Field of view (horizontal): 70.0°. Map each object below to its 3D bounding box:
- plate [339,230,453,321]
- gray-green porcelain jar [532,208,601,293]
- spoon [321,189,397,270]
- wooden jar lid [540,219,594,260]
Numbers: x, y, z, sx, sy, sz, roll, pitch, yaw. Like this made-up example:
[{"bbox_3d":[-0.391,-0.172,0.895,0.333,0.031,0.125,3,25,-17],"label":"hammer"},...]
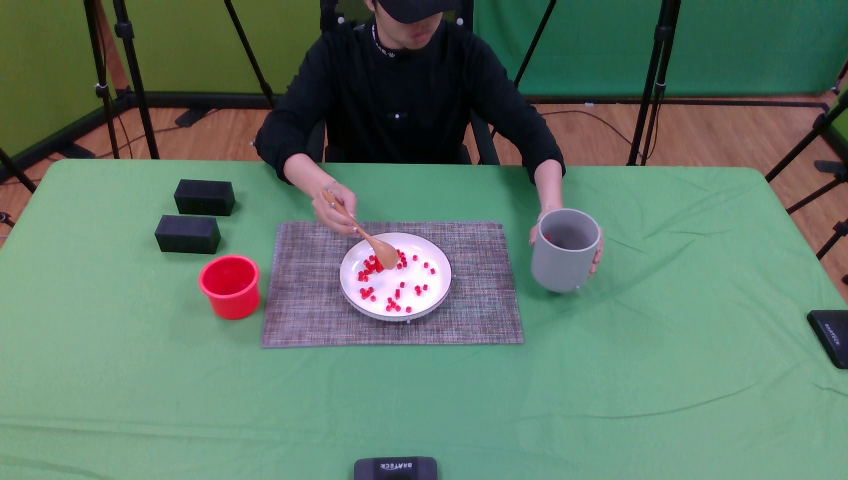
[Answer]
[{"bbox_3d":[-0.051,0.068,1.111,0.208,0.039,0.206,2,46,-2],"label":"plate"},{"bbox_3d":[0.248,0.023,1.075,0.106,0.127,0.105,0,48,0],"label":"gray-green porcelain jar"},{"bbox_3d":[-0.114,-0.018,1.064,0.194,0.021,0.041,45,65,-19],"label":"spoon"},{"bbox_3d":[0.286,0.001,1.218,0.108,0.021,0.107,1,46,-1],"label":"wooden jar lid"}]
